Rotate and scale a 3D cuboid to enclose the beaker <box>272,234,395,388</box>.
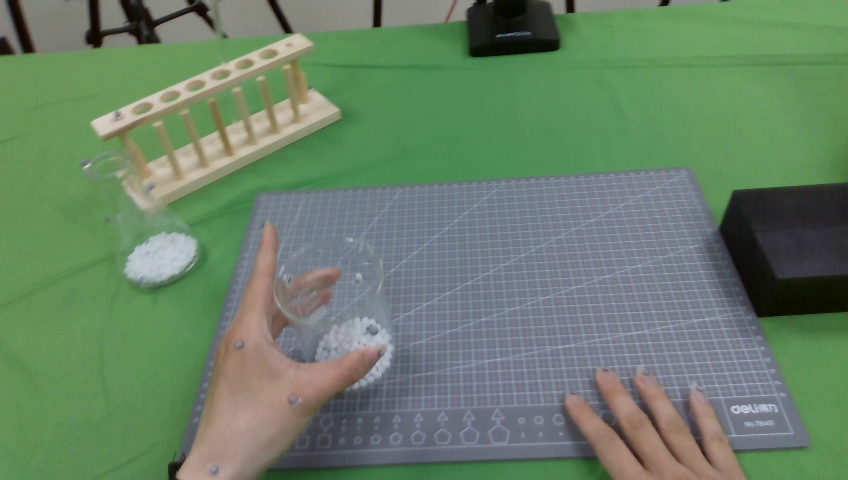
[{"bbox_3d":[-0.059,0.054,0.441,0.073,0.101,0.083,19,53,20],"label":"beaker"}]

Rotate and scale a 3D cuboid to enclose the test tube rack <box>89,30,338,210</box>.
[{"bbox_3d":[-0.220,-0.137,0.667,0.242,0.086,0.066,-33,52,-22],"label":"test tube rack"}]

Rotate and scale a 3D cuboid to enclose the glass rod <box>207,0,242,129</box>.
[{"bbox_3d":[-0.215,-0.206,0.640,0.008,0.201,0.008,0,40,0],"label":"glass rod"}]

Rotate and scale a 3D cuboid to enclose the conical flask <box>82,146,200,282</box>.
[{"bbox_3d":[-0.257,-0.026,0.544,0.075,0.123,0.074,-3,47,3],"label":"conical flask"}]
